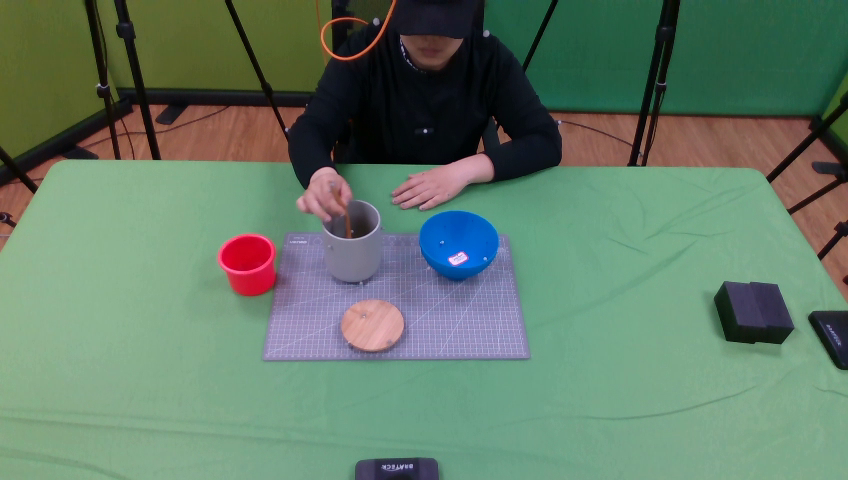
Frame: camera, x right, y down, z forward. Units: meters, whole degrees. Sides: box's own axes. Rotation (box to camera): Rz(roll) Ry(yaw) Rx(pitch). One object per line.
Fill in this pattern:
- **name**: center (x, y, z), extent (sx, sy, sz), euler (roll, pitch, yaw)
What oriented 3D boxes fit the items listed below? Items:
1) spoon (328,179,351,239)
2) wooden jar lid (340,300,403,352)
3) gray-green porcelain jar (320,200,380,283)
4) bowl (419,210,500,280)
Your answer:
- **spoon**: center (-0.140, -0.039, 1.069), extent (0.021, 0.195, 0.041), euler (-18, 48, -9)
- **wooden jar lid**: center (-0.090, 0.150, 1.046), extent (0.108, 0.021, 0.107), euler (3, 47, -3)
- **gray-green porcelain jar**: center (-0.132, 0.007, 1.106), extent (0.106, 0.127, 0.105), euler (2, 46, -2)
- **bowl**: center (0.062, 0.022, 1.140), extent (0.151, 0.077, 0.150), euler (2, 46, -2)
